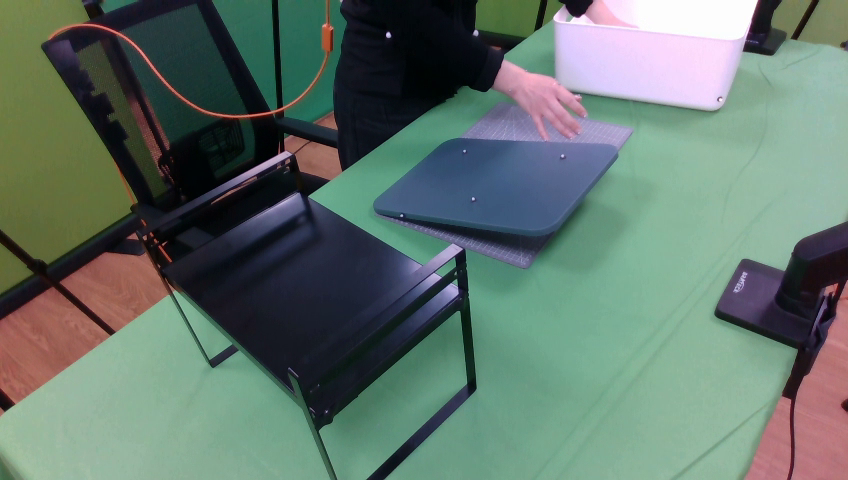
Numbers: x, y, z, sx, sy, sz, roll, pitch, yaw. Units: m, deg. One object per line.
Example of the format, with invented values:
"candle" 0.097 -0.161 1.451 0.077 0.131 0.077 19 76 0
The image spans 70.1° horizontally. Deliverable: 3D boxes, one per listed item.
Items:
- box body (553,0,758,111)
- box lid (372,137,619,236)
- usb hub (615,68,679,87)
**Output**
"box body" 0.480 -0.417 1.282 0.362 0.161 0.254 16 46 25
"box lid" 0.111 -0.104 1.026 0.368 0.015 0.264 10 41 39
"usb hub" 0.483 -0.353 1.314 0.124 0.025 0.049 10 42 31
